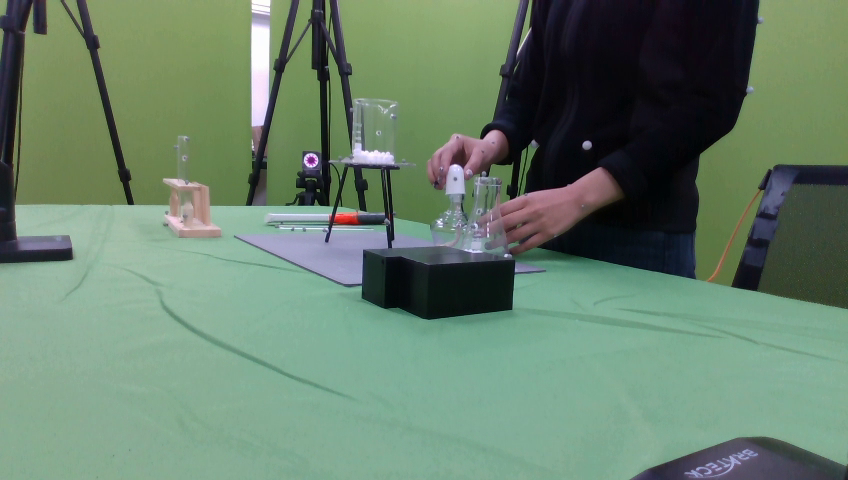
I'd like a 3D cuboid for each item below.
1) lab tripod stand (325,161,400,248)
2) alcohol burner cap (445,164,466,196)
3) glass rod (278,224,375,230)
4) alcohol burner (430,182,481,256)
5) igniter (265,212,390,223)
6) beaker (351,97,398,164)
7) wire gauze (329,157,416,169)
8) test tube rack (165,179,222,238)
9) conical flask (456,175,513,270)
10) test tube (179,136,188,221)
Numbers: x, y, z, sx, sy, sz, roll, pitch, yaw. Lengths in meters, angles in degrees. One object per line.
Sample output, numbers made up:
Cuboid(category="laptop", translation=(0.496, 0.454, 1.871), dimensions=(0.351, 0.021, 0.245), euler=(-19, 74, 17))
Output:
Cuboid(category="lab tripod stand", translation=(-0.083, -0.059, 0.977), dimensions=(0.148, 0.131, 0.148), euler=(4, 8, 0))
Cuboid(category="alcohol burner cap", translation=(0.047, -0.090, 0.908), dimensions=(0.034, 0.048, 0.034), euler=(-2, 0, 0))
Cuboid(category="glass rod", translation=(-0.186, -0.024, 1.178), dimensions=(0.201, 0.008, 0.008), euler=(1, 6, -31))
Cuboid(category="alcohol burner", translation=(0.049, -0.036, 0.913), dimensions=(0.078, 0.119, 0.078), euler=(4, 9, 0))
Cuboid(category="igniter", translation=(-0.196, -0.048, 1.285), dimensions=(0.278, 0.025, 0.057), euler=(-2, -2, -30))
Cuboid(category="beaker", translation=(-0.078, -0.172, 0.962), dimensions=(0.074, 0.100, 0.084), euler=(6, 8, 18))
Cuboid(category="wire gauze", translation=(-0.079, -0.125, 0.972), dimensions=(0.121, 0.011, 0.125), euler=(6, 6, 5))
Cuboid(category="test tube rack", translation=(-0.423, -0.062, 1.098), dimensions=(0.067, 0.085, 0.241), euler=(-2, 9, -28))
Cuboid(category="conical flask", translation=(0.083, -0.025, 0.801), dimensions=(0.075, 0.122, 0.075), euler=(2, 7, 0))
Cuboid(category="test tube", translation=(-0.425, -0.108, 1.070), dimensions=(0.017, 0.150, 0.017), euler=(4, 9, 0))
